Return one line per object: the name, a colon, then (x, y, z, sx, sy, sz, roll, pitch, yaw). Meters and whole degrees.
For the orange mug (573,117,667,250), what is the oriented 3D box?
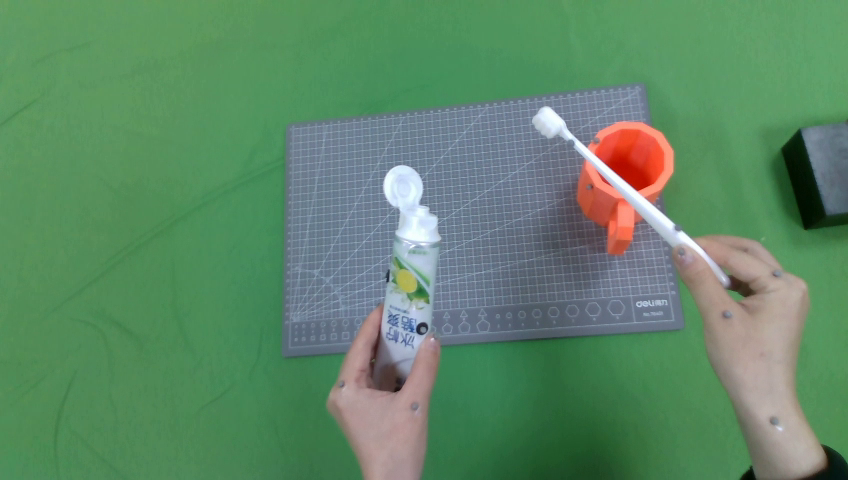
orange mug: (0.207, -0.057, 0.651, 0.083, 0.101, 0.125, 3, 71, 9)

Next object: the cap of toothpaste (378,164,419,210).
cap of toothpaste: (-0.018, -0.041, 0.461, 0.037, 0.011, 0.037, 2, 86, -33)

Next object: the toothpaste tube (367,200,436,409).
toothpaste tube: (-0.016, 0.050, 0.468, 0.054, 0.034, 0.165, 16, 108, 32)

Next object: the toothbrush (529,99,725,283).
toothbrush: (0.143, -0.035, 0.430, 0.181, 0.014, 0.016, 45, 48, 7)
